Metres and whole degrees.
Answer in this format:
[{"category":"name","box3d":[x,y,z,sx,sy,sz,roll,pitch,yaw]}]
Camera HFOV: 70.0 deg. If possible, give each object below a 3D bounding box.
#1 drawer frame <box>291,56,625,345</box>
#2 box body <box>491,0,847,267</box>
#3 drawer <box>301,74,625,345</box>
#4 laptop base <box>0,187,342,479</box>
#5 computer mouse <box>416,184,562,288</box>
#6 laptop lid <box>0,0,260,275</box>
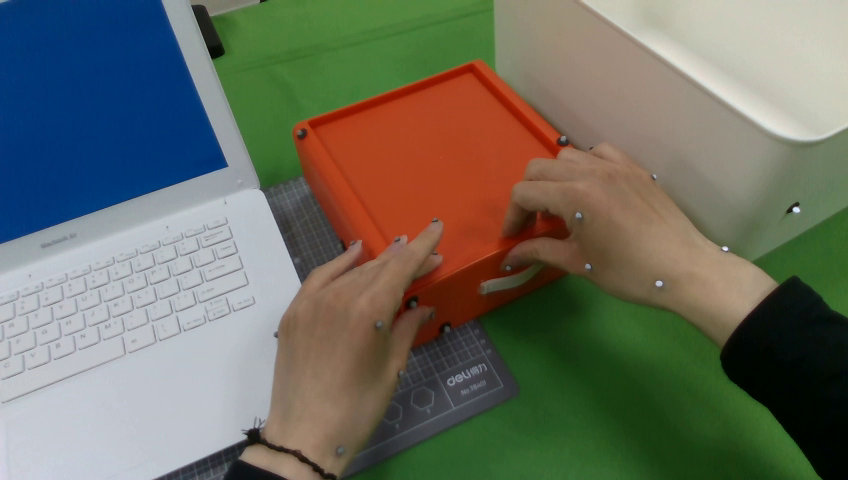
[{"category":"drawer frame","box3d":[0.021,-0.045,0.521,0.202,0.083,0.211,-25,53,-16]},{"category":"box body","box3d":[0.252,-0.175,0.558,0.254,0.162,0.360,-26,54,-16]},{"category":"drawer","box3d":[0.024,-0.041,0.520,0.195,0.074,0.209,-24,52,-16]},{"category":"laptop base","box3d":[-0.264,0.096,0.471,0.355,0.023,0.233,-22,56,-13]},{"category":"computer mouse","box3d":[0.052,-0.006,0.498,0.117,0.041,0.062,-19,57,-2]},{"category":"laptop lid","box3d":[-0.343,-0.088,0.493,0.357,0.243,0.013,-23,24,-12]}]
